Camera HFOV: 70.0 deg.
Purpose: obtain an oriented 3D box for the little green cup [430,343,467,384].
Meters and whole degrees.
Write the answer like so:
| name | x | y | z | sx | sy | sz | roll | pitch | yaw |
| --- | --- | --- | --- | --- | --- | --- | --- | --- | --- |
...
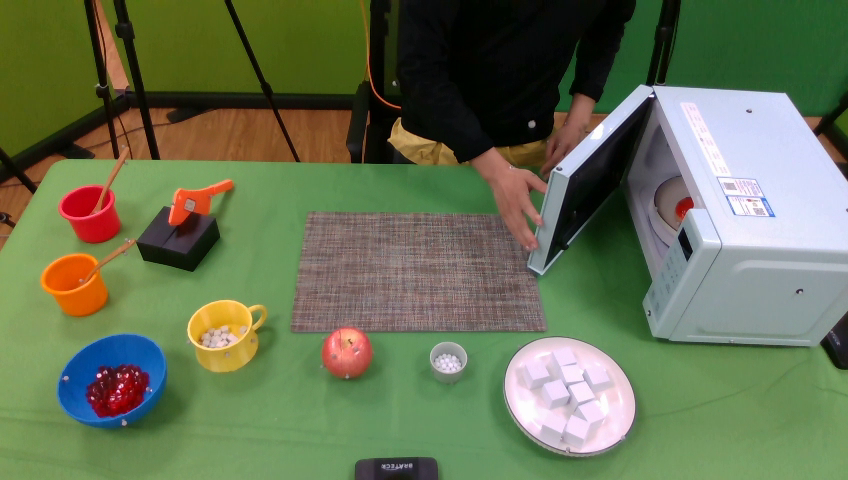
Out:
| name | x | y | z | sx | sy | sz | roll | pitch | yaw |
| --- | --- | --- | --- | --- | --- | --- | --- | --- | --- |
| little green cup | 0.039 | 0.203 | 0.994 | 0.061 | 0.039 | 0.061 | 2 | 46 | -2 |

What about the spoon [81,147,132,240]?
| name | x | y | z | sx | sy | sz | roll | pitch | yaw |
| --- | --- | --- | --- | --- | --- | --- | --- | --- | --- |
| spoon | -0.603 | -0.089 | 1.156 | 0.041 | 0.022 | 0.193 | 27 | 95 | 18 |

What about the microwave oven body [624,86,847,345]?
| name | x | y | z | sx | sy | sz | roll | pitch | yaw |
| --- | --- | --- | --- | --- | --- | --- | --- | --- | --- |
| microwave oven body | 0.567 | -0.053 | 1.118 | 0.326 | 0.261 | 0.439 | 2 | 45 | -1 |

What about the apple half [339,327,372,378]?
| name | x | y | z | sx | sy | sz | roll | pitch | yaw |
| --- | --- | --- | --- | --- | --- | --- | --- | --- | --- |
| apple half | -0.111 | 0.182 | 0.980 | 0.053 | 0.075 | 0.080 | -2 | 42 | -12 |

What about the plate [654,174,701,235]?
| name | x | y | z | sx | sy | sz | roll | pitch | yaw |
| --- | --- | --- | --- | --- | --- | --- | --- | --- | --- |
| plate | 0.555 | -0.050 | 1.185 | 0.209 | 0.038 | 0.208 | 1 | 45 | -1 |

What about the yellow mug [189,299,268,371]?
| name | x | y | z | sx | sy | sz | roll | pitch | yaw |
| --- | --- | --- | --- | --- | --- | --- | --- | --- | --- |
| yellow mug | -0.316 | 0.148 | 1.002 | 0.131 | 0.064 | 0.099 | -33 | 56 | -31 |

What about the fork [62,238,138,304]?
| name | x | y | z | sx | sy | sz | roll | pitch | yaw |
| --- | --- | --- | --- | --- | --- | --- | --- | --- | --- |
| fork | -0.547 | 0.053 | 1.018 | 0.207 | 0.019 | 0.028 | -36 | 41 | 23 |

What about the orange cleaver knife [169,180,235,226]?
| name | x | y | z | sx | sy | sz | roll | pitch | yaw |
| --- | --- | --- | --- | --- | --- | --- | --- | --- | --- |
| orange cleaver knife | -0.435 | -0.076 | 1.199 | 0.012 | 0.077 | 0.211 | 17 | 17 | 9 |

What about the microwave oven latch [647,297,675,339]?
| name | x | y | z | sx | sy | sz | roll | pitch | yaw |
| --- | --- | --- | --- | --- | --- | --- | --- | --- | --- |
| microwave oven latch | 0.413 | 0.134 | 1.060 | 0.030 | 0.029 | 0.078 | 5 | 45 | 2 |

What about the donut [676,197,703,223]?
| name | x | y | z | sx | sy | sz | roll | pitch | yaw |
| --- | --- | --- | --- | --- | --- | --- | --- | --- | --- |
| donut | 0.538 | -0.048 | 1.171 | 0.099 | 0.048 | 0.098 | 3 | 40 | -2 |

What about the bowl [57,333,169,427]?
| name | x | y | z | sx | sy | sz | roll | pitch | yaw |
| --- | --- | --- | --- | --- | --- | --- | --- | --- | --- |
| bowl | -0.456 | 0.223 | 0.912 | 0.151 | 0.077 | 0.150 | 3 | 45 | -2 |

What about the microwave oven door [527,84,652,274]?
| name | x | y | z | sx | sy | sz | roll | pitch | yaw |
| --- | --- | --- | --- | --- | --- | --- | --- | --- | --- |
| microwave oven door | 0.323 | -0.123 | 1.162 | 0.039 | 0.245 | 0.355 | 31 | 52 | 23 |

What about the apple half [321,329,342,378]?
| name | x | y | z | sx | sy | sz | roll | pitch | yaw |
| --- | --- | --- | --- | --- | --- | --- | --- | --- | --- |
| apple half | -0.149 | 0.186 | 0.972 | 0.033 | 0.081 | 0.080 | -2 | 46 | -13 |

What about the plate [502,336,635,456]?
| name | x | y | z | sx | sy | sz | roll | pitch | yaw |
| --- | --- | --- | --- | --- | --- | --- | --- | --- | --- |
| plate | 0.225 | 0.248 | 0.963 | 0.208 | 0.039 | 0.206 | 2 | 46 | -2 |
